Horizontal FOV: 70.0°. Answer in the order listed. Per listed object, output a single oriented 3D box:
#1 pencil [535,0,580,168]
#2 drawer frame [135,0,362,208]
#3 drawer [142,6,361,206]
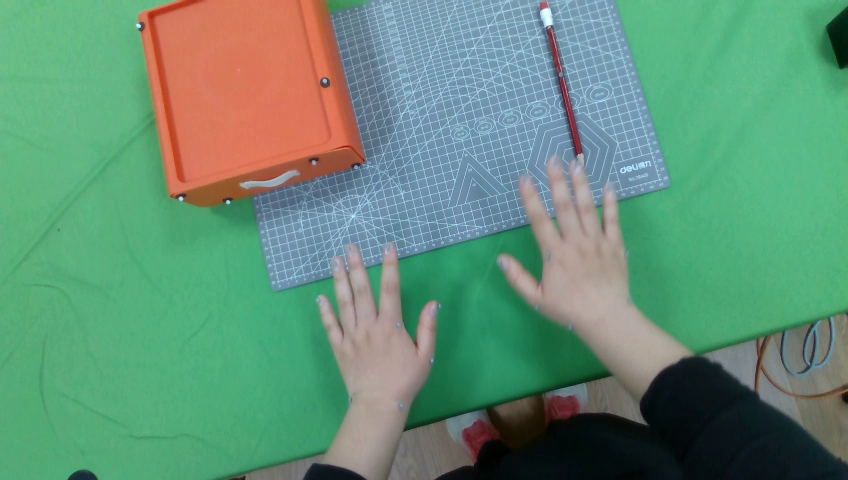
[{"bbox_3d":[0.148,-0.172,0.663,0.012,0.012,0.193,-13,85,6],"label":"pencil"},{"bbox_3d":[-0.192,-0.164,0.667,0.201,0.083,0.212,-16,81,6],"label":"drawer frame"},{"bbox_3d":[-0.190,-0.162,0.668,0.194,0.073,0.211,-15,81,6],"label":"drawer"}]
